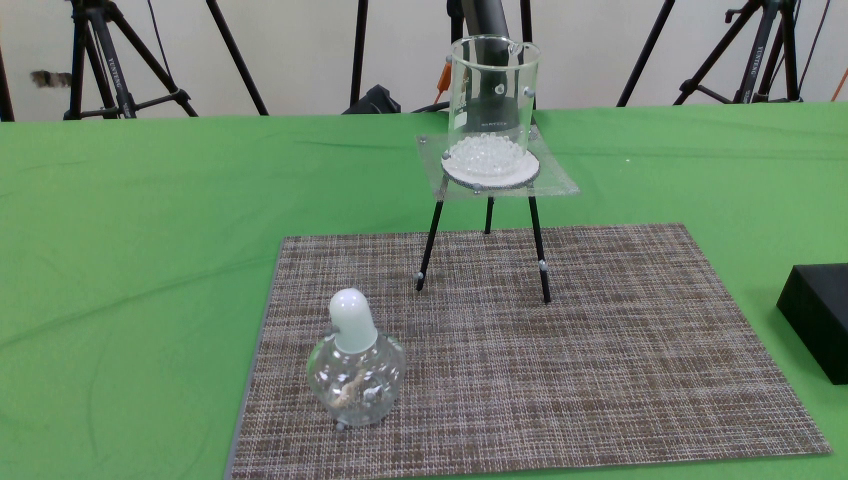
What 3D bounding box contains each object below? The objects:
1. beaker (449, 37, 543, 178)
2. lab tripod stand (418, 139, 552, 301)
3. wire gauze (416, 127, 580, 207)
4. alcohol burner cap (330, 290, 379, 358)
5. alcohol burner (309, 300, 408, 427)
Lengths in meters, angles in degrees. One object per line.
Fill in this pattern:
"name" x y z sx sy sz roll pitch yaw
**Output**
"beaker" 0.059 -0.111 0.515 0.073 0.101 0.084 21 41 23
"lab tripod stand" 0.065 -0.018 0.581 0.148 0.132 0.147 1 37 -1
"wire gauze" 0.061 -0.067 0.538 0.125 0.011 0.120 -2 39 -9
"alcohol burner cap" -0.053 0.058 0.439 0.034 0.048 0.033 -5 35 4
"alcohol burner" -0.051 0.086 0.460 0.078 0.120 0.077 1 39 0
